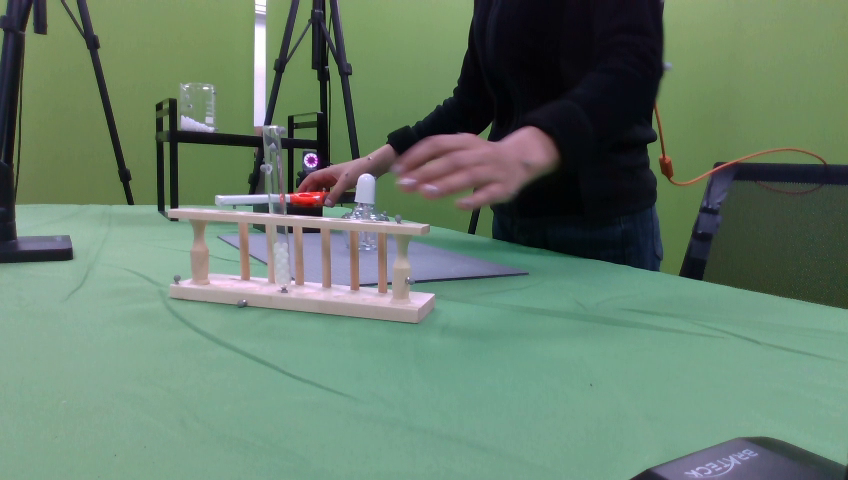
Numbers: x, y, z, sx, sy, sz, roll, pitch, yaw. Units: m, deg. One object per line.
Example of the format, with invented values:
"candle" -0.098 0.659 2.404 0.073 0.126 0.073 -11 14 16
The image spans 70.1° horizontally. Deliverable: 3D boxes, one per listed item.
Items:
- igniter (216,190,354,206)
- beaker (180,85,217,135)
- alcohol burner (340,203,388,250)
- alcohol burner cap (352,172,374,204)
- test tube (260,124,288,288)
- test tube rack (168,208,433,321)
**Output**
"igniter" -0.248 -0.079 1.152 0.278 0.025 0.057 -4 12 -27
"beaker" -0.478 -0.275 1.279 0.074 0.100 0.084 4 8 15
"alcohol burner" -0.094 -0.045 0.939 0.078 0.119 0.078 0 7 0
"alcohol burner cap" -0.093 -0.081 0.935 0.034 0.048 0.034 7 10 -1
"test tube" -0.137 -0.030 0.553 0.017 0.150 0.017 -2 10 1
"test tube rack" -0.116 0.017 0.574 0.242 0.085 0.067 4 8 13
